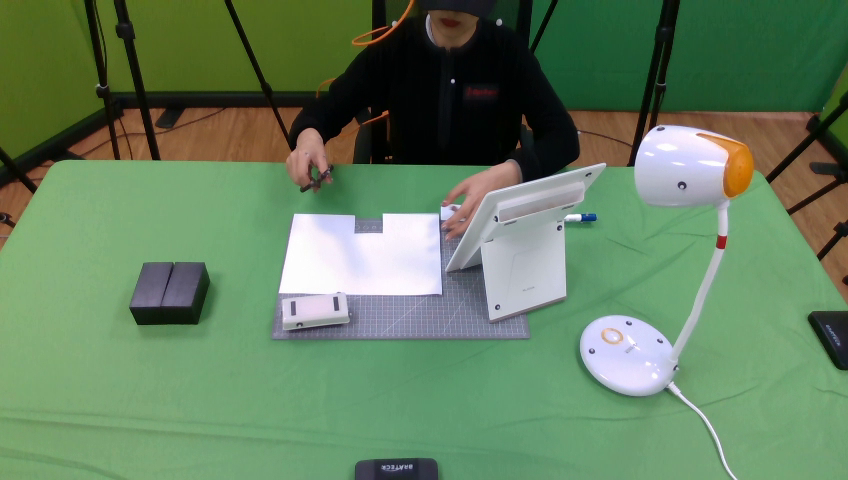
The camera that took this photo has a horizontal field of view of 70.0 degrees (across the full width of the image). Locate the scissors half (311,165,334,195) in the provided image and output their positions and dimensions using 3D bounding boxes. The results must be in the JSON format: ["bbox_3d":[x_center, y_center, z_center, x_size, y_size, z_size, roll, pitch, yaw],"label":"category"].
[{"bbox_3d":[-0.195,-0.113,1.141,0.040,0.013,0.174,-27,20,11],"label":"scissors half"}]

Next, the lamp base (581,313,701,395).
[{"bbox_3d":[0.361,0.144,0.973,0.178,0.181,0.160,34,53,23],"label":"lamp base"}]

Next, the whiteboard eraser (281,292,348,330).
[{"bbox_3d":[-0.189,0.124,1.045,0.113,0.042,0.055,-6,46,-10],"label":"whiteboard eraser"}]

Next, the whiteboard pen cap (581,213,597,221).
[{"bbox_3d":[0.342,-0.048,1.260,0.033,0.018,0.018,-3,46,-3],"label":"whiteboard pen cap"}]

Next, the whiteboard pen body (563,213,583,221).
[{"bbox_3d":[0.283,-0.047,1.257,0.141,0.017,0.017,-1,46,-2],"label":"whiteboard pen body"}]

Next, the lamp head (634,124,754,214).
[{"bbox_3d":[0.351,-0.089,0.775,0.112,0.113,0.122,-30,30,-28],"label":"lamp head"}]

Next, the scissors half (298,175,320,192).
[{"bbox_3d":[-0.213,-0.102,1.142,0.040,0.013,0.174,-40,20,-8],"label":"scissors half"}]

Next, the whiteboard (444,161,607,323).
[{"bbox_3d":[0.186,0.025,1.029,0.217,0.306,0.143,-14,68,-18],"label":"whiteboard"}]
